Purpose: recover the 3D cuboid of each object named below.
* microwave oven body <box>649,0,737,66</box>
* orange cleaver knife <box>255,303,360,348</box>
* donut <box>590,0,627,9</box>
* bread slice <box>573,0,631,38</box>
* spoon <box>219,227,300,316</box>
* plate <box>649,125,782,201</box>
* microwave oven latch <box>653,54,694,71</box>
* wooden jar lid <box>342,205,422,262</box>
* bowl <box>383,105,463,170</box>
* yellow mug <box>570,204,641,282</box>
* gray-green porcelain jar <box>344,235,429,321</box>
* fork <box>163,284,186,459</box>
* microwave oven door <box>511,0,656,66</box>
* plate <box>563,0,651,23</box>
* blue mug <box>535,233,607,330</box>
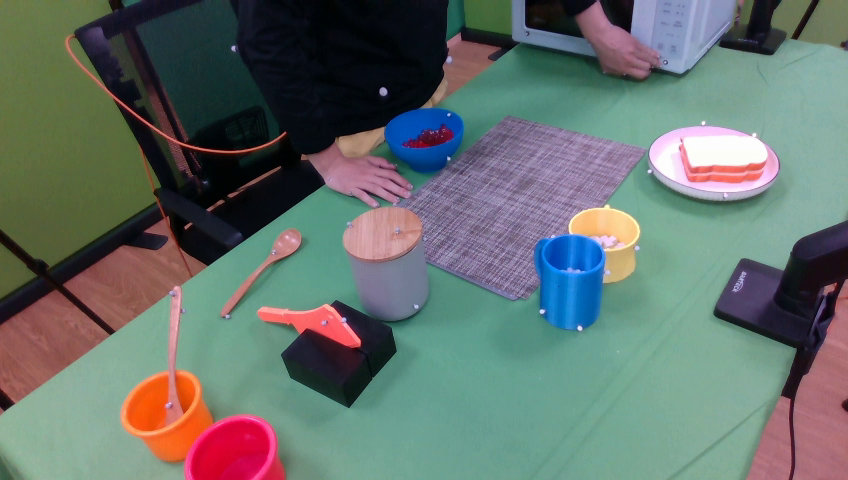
[{"bbox_3d":[0.475,-0.602,1.412,0.438,0.261,0.327,23,50,32],"label":"microwave oven body"},{"bbox_3d":[-0.161,0.115,0.814,0.210,0.077,0.012,-5,32,46],"label":"orange cleaver knife"},{"bbox_3d":[0.438,-0.586,1.433,0.099,0.048,0.098,-2,53,3],"label":"donut"},{"bbox_3d":[0.428,-0.557,1.479,0.105,0.019,0.131,-26,69,-19],"label":"bread slice"},{"bbox_3d":[-0.260,0.046,0.954,0.041,0.021,0.194,27,48,11],"label":"spoon"},{"bbox_3d":[0.493,-0.128,1.037,0.207,0.039,0.206,-4,41,4],"label":"plate"},{"bbox_3d":[0.536,-0.388,1.303,0.030,0.029,0.078,-33,46,-25],"label":"microwave oven latch"},{"bbox_3d":[-0.055,-0.006,0.809,0.108,0.021,0.108,-6,41,6],"label":"wooden jar lid"},{"bbox_3d":[0.002,-0.185,1.143,0.151,0.077,0.150,-4,40,4],"label":"bowl"},{"bbox_3d":[0.268,-0.005,0.905,0.099,0.064,0.130,7,41,15],"label":"yellow mug"},{"bbox_3d":[-0.049,0.042,0.850,0.106,0.127,0.105,-4,41,4],"label":"gray-green porcelain jar"},{"bbox_3d":[-0.303,0.157,0.734,0.028,0.019,0.207,-3,84,13],"label":"fork"},{"bbox_3d":[0.350,-0.539,1.349,0.353,0.245,0.039,24,50,31],"label":"microwave oven door"},{"bbox_3d":[0.440,-0.573,1.455,0.209,0.038,0.208,-6,43,6],"label":"plate"},{"bbox_3d":[0.191,0.048,0.825,0.082,0.106,0.115,-26,44,-20],"label":"blue mug"}]
